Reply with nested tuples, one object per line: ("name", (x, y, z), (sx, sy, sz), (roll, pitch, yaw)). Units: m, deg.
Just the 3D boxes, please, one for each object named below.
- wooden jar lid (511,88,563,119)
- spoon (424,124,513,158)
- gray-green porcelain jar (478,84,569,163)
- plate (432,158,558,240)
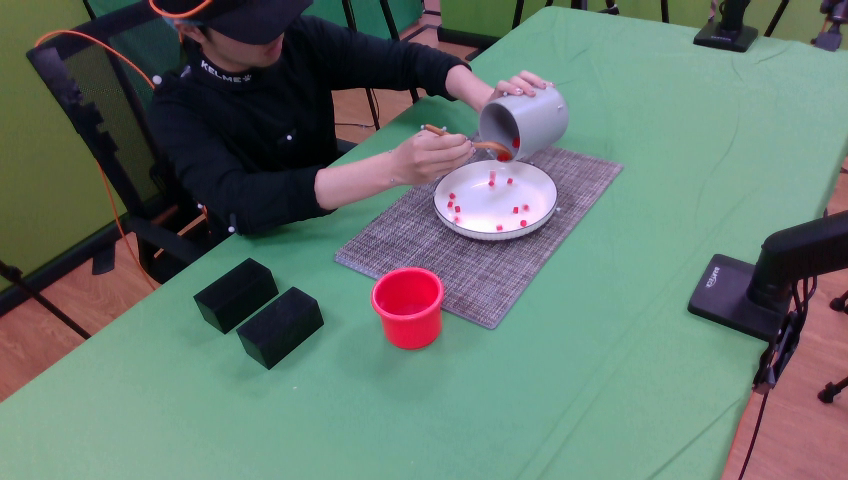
("wooden jar lid", (0.237, -0.286, 1.271), (0.108, 0.021, 0.108), (-5, 42, 5))
("spoon", (0.073, -0.152, 0.939), (0.195, 0.021, 0.041), (4, 15, -43))
("gray-green porcelain jar", (0.172, -0.200, 1.019), (0.127, 0.106, 0.105), (-27, 44, -29))
("plate", (0.118, -0.066, 1.012), (0.207, 0.039, 0.206), (-4, 41, 4))
